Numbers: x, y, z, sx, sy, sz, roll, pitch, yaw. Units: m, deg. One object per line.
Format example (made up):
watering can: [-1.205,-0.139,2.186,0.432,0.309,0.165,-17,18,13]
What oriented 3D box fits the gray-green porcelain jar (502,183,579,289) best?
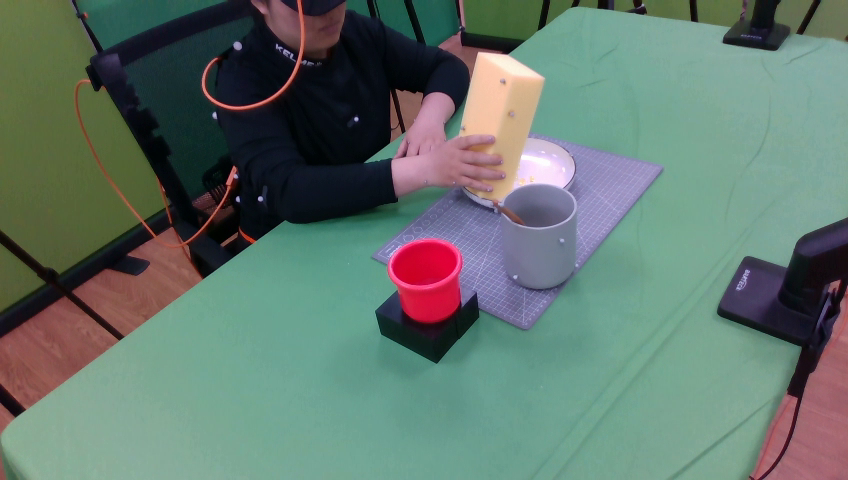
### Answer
gray-green porcelain jar: [0.167,-0.001,0.866,0.106,0.127,0.105,-5,40,5]

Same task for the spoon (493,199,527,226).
spoon: [0.135,-0.016,0.831,0.021,0.195,0.041,-49,53,-1]

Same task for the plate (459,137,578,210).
plate: [0.166,-0.113,1.068,0.207,0.039,0.206,-5,40,5]

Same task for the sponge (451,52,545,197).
sponge: [0.116,-0.188,0.996,0.061,0.207,0.117,-2,31,-26]
